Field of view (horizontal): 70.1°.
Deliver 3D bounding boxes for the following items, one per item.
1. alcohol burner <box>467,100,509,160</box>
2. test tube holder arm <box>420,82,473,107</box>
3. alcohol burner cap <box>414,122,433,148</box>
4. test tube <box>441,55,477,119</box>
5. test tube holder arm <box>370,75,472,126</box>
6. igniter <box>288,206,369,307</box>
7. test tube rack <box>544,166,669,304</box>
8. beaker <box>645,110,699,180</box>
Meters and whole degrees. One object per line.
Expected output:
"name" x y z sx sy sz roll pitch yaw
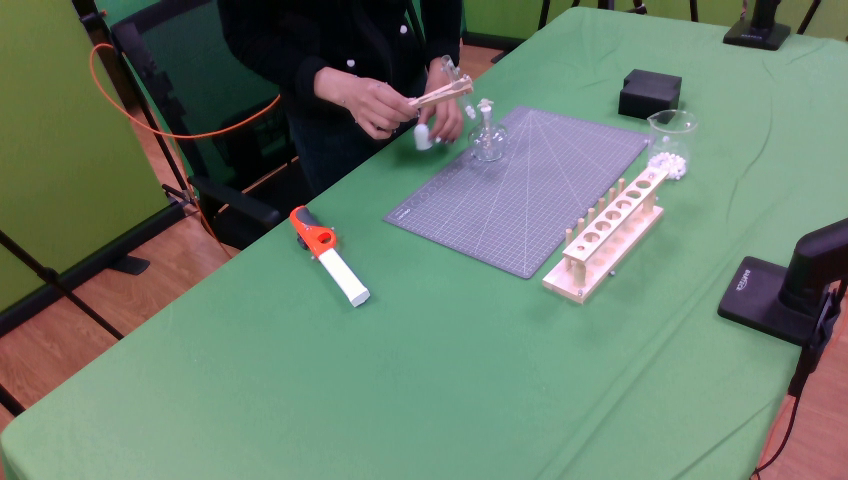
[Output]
"alcohol burner" 0.118 -0.210 1.131 0.078 0.119 0.077 -5 42 5
"test tube holder arm" 0.035 -0.229 0.955 0.087 0.015 0.010 -12 62 21
"alcohol burner cap" -0.003 -0.203 1.155 0.034 0.048 0.033 -6 36 5
"test tube" 0.057 -0.237 0.953 0.017 0.151 0.017 -8 64 18
"test tube holder arm" -0.006 -0.222 0.972 0.178 0.015 0.013 -19 59 18
"igniter" -0.163 0.017 0.986 0.057 0.025 0.274 -33 45 -12
"test tube rack" 0.274 -0.018 0.903 0.066 0.085 0.243 26 51 35
"beaker" 0.417 -0.160 1.032 0.083 0.101 0.074 25 51 35
